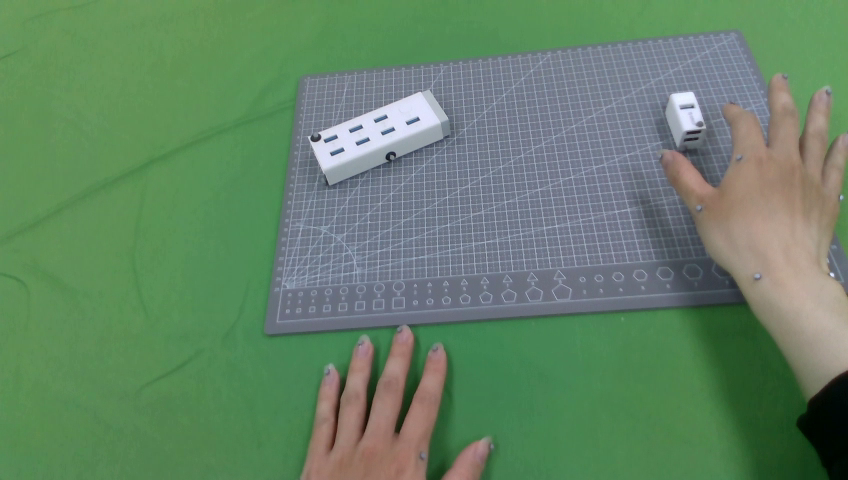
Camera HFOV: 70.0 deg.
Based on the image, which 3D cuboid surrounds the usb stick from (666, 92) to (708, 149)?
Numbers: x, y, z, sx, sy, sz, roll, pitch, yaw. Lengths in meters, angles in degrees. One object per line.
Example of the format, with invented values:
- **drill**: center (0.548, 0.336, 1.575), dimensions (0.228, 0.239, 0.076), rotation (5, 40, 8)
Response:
- **usb stick**: center (0.229, -0.110, 0.533), dimensions (0.021, 0.027, 0.058), rotation (-5, 53, 5)

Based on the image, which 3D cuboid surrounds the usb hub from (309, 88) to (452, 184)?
- **usb hub**: center (-0.040, -0.098, 0.564), dimensions (0.125, 0.025, 0.049), rotation (-23, 57, -8)
